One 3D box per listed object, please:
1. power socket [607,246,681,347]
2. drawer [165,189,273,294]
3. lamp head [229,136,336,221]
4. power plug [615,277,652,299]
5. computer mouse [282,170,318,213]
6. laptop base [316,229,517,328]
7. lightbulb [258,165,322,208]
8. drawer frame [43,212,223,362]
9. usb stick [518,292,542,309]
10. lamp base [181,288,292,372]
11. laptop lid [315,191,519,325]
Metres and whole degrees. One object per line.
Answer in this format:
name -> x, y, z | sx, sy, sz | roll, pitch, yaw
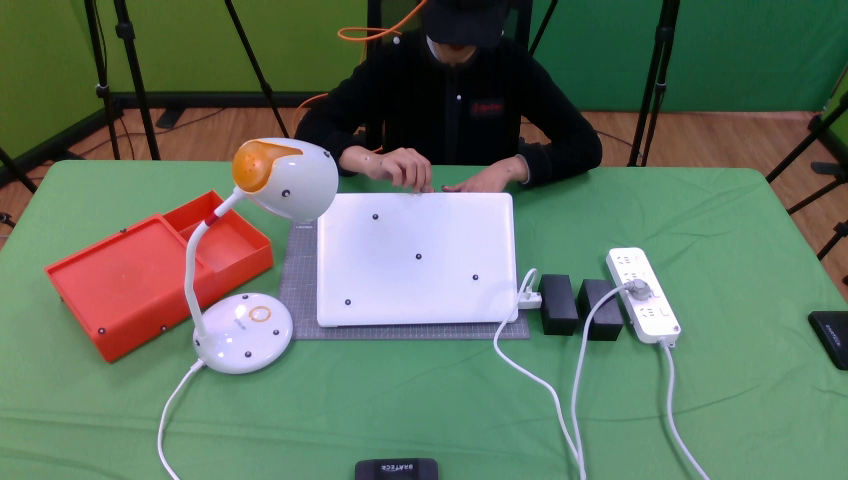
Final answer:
power socket -> 0.403, 0.096, 1.123 | 0.072, 0.033, 0.225 | -3, 47, -5
drawer -> -0.419, 0.021, 1.108 | 0.193, 0.073, 0.211 | 37, 55, 27
lamp head -> -0.195, -0.085, 0.791 | 0.112, 0.112, 0.123 | 35, 14, 27
power plug -> 0.375, 0.088, 1.096 | 0.072, 0.053, 0.035 | 6, 46, 2
computer mouse -> -0.259, -0.106, 1.272 | 0.063, 0.041, 0.116 | 4, 49, -3
laptop base -> -0.017, 0.067, 1.133 | 0.355, 0.023, 0.234 | -1, 43, -5
lightbulb -> -0.181, -0.075, 0.809 | 0.059, 0.059, 0.108 | 35, 11, 26
drawer frame -> -0.497, 0.073, 1.049 | 0.213, 0.083, 0.200 | -34, 57, -31
usb stick -> 0.181, 0.108, 1.087 | 0.059, 0.027, 0.021 | -4, 45, -2
lamp base -> -0.309, 0.108, 0.959 | 0.160, 0.181, 0.179 | 29, 55, 22
laptop lid -> -0.012, 0.028, 1.061 | 0.357, 0.013, 0.241 | 1, 81, -5
